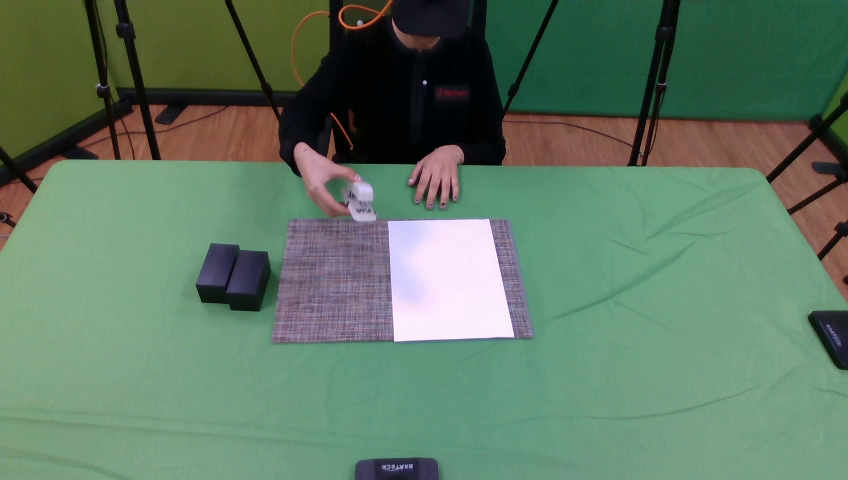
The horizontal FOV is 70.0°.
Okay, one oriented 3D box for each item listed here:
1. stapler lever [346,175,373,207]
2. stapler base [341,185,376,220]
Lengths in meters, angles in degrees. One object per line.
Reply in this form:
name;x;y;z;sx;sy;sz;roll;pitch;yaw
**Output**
stapler lever;-0.116;-0.097;1.076;0.027;0.040;0.117;0;28;-20
stapler base;-0.118;-0.074;1.086;0.041;0.024;0.129;0;27;-20
